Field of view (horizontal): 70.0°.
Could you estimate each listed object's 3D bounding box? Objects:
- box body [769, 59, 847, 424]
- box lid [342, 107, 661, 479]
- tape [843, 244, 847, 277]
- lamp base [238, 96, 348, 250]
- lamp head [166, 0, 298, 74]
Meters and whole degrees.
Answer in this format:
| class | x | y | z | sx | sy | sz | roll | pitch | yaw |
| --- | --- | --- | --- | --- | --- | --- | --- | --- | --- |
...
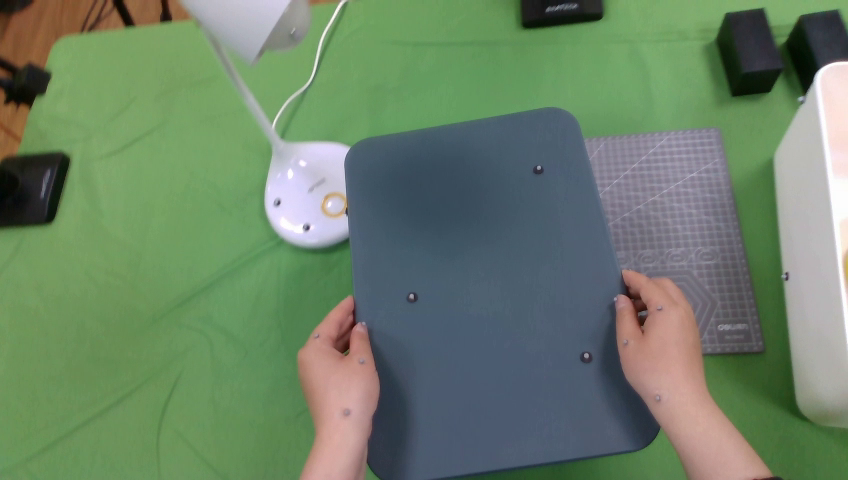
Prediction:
| class | x | y | z | sx | sy | sz | roll | pitch | yaw |
| --- | --- | --- | --- | --- | --- | --- | --- | --- | --- |
| box body | 0.520 | 0.009 | 0.620 | 0.253 | 0.162 | 0.361 | 2 | 67 | 11 |
| box lid | 0.057 | 0.031 | 0.599 | 0.263 | 0.015 | 0.368 | -10 | 64 | 2 |
| tape | 0.534 | 0.020 | 0.666 | 0.117 | 0.053 | 0.116 | -3 | 66 | 8 |
| lamp base | -0.169 | -0.097 | 0.778 | 0.178 | 0.182 | 0.160 | 34 | 76 | 24 |
| lamp head | -0.167 | -0.216 | 0.502 | 0.123 | 0.112 | 0.112 | 31 | 72 | -14 |
